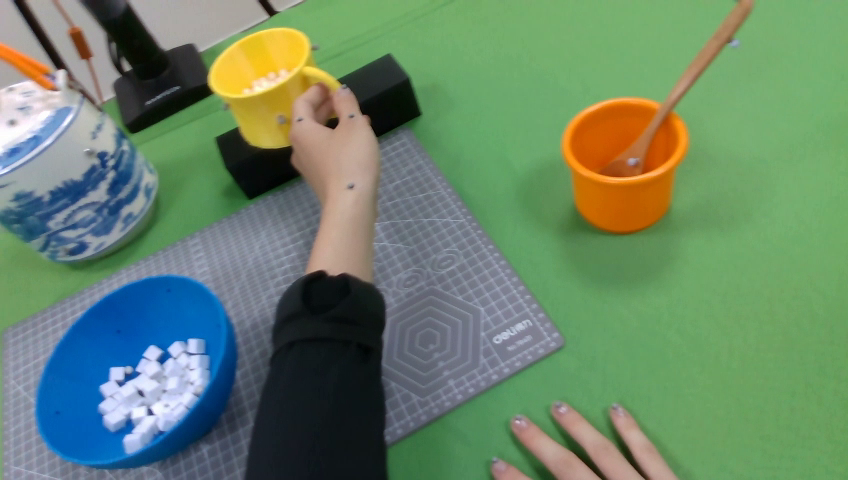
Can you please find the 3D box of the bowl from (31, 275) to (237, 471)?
[{"bbox_3d":[-0.204,0.110,0.467,0.151,0.077,0.150,-8,52,11],"label":"bowl"}]

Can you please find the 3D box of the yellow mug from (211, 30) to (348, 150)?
[{"bbox_3d":[-0.131,-0.143,0.581,0.130,0.064,0.099,10,58,22],"label":"yellow mug"}]

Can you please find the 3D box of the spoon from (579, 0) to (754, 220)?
[{"bbox_3d":[0.184,-0.095,0.466,0.022,0.194,0.041,1,40,-42],"label":"spoon"}]

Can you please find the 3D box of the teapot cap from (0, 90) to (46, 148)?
[{"bbox_3d":[-0.380,-0.108,0.540,0.085,0.044,0.084,-9,54,13],"label":"teapot cap"}]

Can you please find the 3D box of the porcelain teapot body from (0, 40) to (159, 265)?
[{"bbox_3d":[-0.397,-0.075,0.571,0.205,0.228,0.143,-24,52,-1],"label":"porcelain teapot body"}]
